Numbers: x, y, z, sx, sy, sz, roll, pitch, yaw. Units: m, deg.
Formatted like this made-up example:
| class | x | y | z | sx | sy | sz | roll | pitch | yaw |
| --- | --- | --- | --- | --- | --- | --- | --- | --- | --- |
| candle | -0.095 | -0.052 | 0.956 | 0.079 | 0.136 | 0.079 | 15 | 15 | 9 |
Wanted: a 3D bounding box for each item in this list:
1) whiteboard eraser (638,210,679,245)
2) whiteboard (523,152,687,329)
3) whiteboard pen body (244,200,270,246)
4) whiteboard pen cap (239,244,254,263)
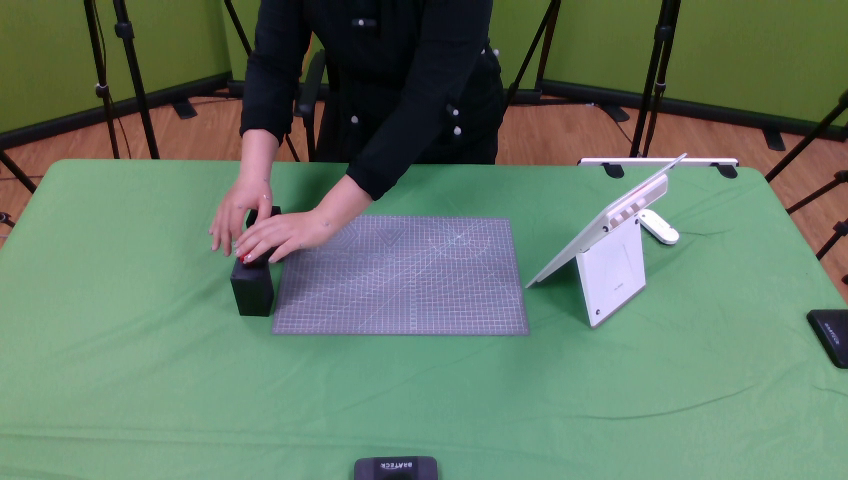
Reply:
| class | x | y | z | sx | sy | sz | roll | pitch | yaw |
| --- | --- | --- | --- | --- | --- | --- | --- | --- | --- |
| whiteboard eraser | 0.485 | -0.027 | 1.260 | 0.041 | 0.019 | 0.100 | -20 | 50 | -22 |
| whiteboard | 0.346 | 0.024 | 1.047 | 0.217 | 0.306 | 0.143 | -30 | 74 | -29 |
| whiteboard pen body | -0.294 | -0.019 | 1.060 | 0.017 | 0.017 | 0.140 | 6 | 46 | 1 |
| whiteboard pen cap | -0.298 | 0.022 | 1.016 | 0.017 | 0.017 | 0.032 | 6 | 44 | 2 |
